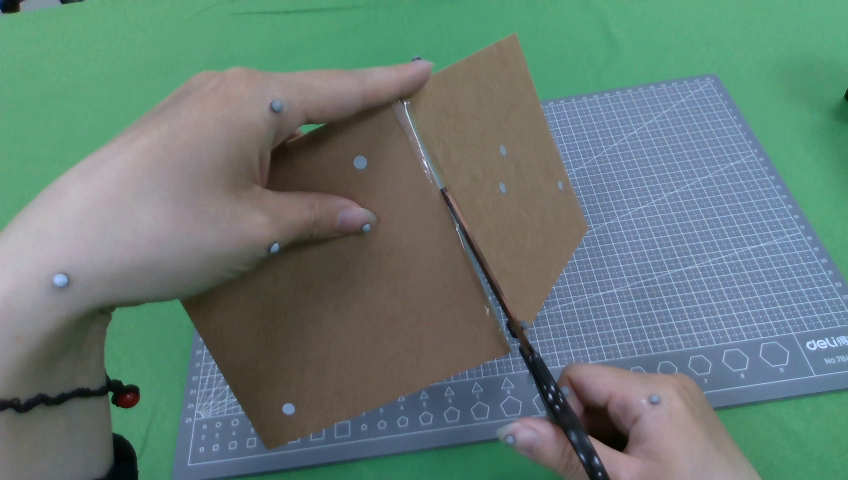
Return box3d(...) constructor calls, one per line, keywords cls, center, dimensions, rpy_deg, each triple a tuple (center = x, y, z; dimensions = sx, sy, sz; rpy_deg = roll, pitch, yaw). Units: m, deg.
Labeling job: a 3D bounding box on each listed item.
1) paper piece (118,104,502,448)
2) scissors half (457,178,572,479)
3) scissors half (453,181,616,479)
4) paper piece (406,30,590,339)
box3d(cls="paper piece", center=(-0.050, 0.024, 0.290), dimensions=(0.138, 0.136, 0.008), rpy_deg=(-22, 15, 2))
box3d(cls="scissors half", center=(0.048, 0.051, 0.297), dimensions=(0.013, 0.176, 0.040), rpy_deg=(-24, 16, -5))
box3d(cls="scissors half", center=(0.051, 0.052, 0.276), dimensions=(0.013, 0.040, 0.175), rpy_deg=(-25, 86, -10))
box3d(cls="paper piece", center=(0.052, -0.038, 0.332), dimensions=(0.004, 0.136, 0.135), rpy_deg=(-12, 19, 37))
